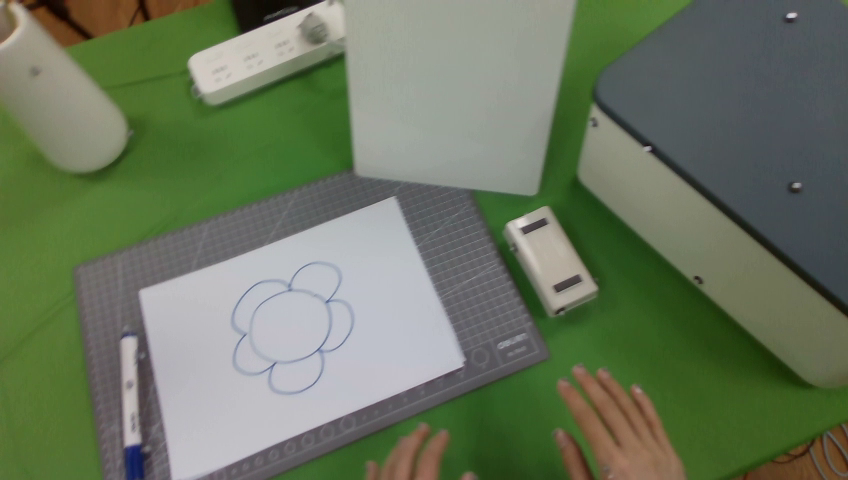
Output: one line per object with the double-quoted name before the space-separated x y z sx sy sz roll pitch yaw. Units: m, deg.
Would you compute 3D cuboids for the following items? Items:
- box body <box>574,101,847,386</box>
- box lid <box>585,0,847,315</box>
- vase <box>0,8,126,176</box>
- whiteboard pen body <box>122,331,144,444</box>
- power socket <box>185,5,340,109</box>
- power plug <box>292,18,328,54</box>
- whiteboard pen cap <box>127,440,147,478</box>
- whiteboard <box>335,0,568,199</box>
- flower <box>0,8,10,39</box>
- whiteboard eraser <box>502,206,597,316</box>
"box body" 0.361 -0.065 0.608 0.254 0.161 0.361 -39 69 -15
"box lid" 0.356 -0.100 0.541 0.263 0.015 0.368 -39 69 -14
"vase" -0.418 -0.155 0.666 0.098 0.201 0.097 -2 64 4
"whiteboard pen body" -0.291 0.159 0.607 0.017 0.017 0.139 -13 67 -3
"power socket" -0.201 -0.239 0.787 0.227 0.033 0.071 -26 67 -10
"power plug" -0.143 -0.247 0.764 0.035 0.053 0.072 -16 71 -5
"whiteboard pen cap" -0.277 0.211 0.585 0.018 0.018 0.033 -14 67 -3
"whiteboard" 0.033 -0.216 0.650 0.217 0.308 0.142 8 45 7
"flower" -0.401 -0.191 0.592 0.038 0.363 0.044 27 59 -4
"whiteboard eraser" 0.132 0.021 0.645 0.055 0.042 0.111 -23 66 -9
